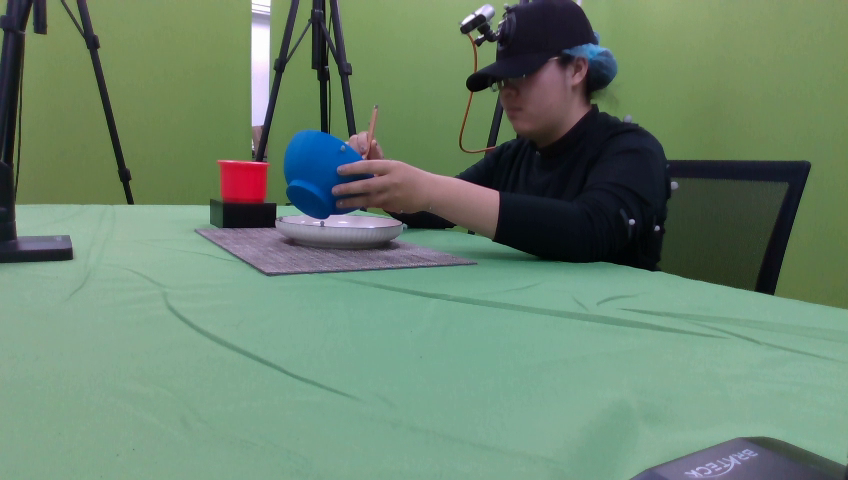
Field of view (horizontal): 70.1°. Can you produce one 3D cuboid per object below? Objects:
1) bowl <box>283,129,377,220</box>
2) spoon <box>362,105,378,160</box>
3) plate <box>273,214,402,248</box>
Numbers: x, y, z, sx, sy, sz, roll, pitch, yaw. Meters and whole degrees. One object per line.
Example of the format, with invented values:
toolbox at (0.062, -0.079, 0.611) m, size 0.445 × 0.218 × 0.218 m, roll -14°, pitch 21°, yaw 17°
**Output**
bowl at (-0.155, -0.083, 0.902) m, size 0.151 × 0.077 × 0.151 m, roll 21°, pitch -31°, yaw 14°
spoon at (-0.103, -0.144, 1.021) m, size 0.021 × 0.193 × 0.041 m, roll 15°, pitch -19°, yaw 6°
plate at (-0.141, -0.015, 0.993) m, size 0.208 × 0.039 × 0.207 m, roll 3°, pitch 7°, yaw 0°
